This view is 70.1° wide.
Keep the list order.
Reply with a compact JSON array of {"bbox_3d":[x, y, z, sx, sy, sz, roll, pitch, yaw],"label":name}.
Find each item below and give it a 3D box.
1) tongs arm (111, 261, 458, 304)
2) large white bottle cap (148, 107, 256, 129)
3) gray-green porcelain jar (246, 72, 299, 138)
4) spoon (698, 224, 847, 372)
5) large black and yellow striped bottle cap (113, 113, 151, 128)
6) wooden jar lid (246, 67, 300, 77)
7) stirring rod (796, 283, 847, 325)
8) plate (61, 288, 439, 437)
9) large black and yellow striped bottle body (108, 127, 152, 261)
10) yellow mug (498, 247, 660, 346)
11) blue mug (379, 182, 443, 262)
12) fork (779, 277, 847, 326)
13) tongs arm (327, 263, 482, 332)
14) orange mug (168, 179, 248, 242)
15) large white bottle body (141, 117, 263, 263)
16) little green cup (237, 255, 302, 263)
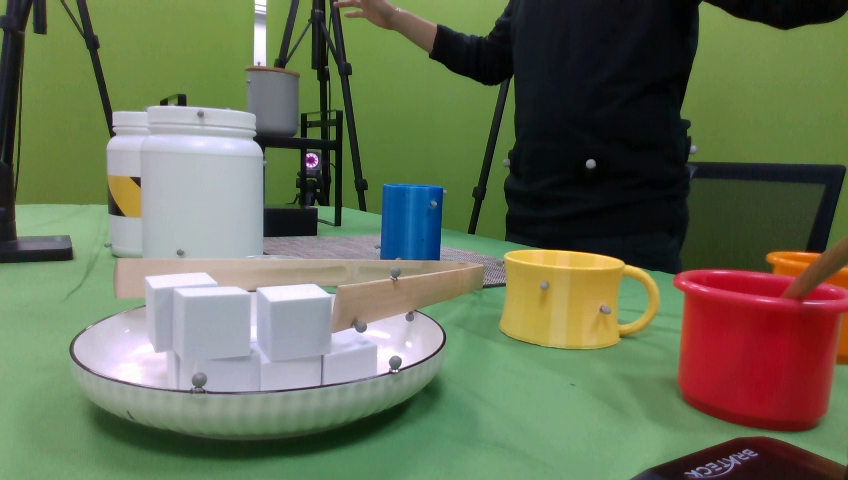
[{"bbox_3d":[-0.080,0.032,0.527,0.028,0.027,0.389,-3,-3,33],"label":"tongs arm"},{"bbox_3d":[-0.250,-0.137,0.686,0.115,0.018,0.115,3,8,0],"label":"large white bottle cap"},{"bbox_3d":[-0.314,-0.277,1.256,0.106,0.126,0.106,3,8,0],"label":"gray-green porcelain jar"},{"bbox_3d":[0.195,0.032,0.323,0.041,0.021,0.194,1,-36,2],"label":"spoon"},{"bbox_3d":[-0.348,-0.154,0.800,0.115,0.019,0.115,2,6,0],"label":"large black and yellow striped bottle cap"},{"bbox_3d":[-0.312,-0.339,1.247,0.108,0.020,0.108,4,8,0],"label":"wooden jar lid"},{"bbox_3d":[0.347,0.019,0.460,0.014,0.176,0.006,-16,59,-26],"label":"stirring rod"},{"bbox_3d":[-0.095,0.069,0.362,0.208,0.039,0.207,3,7,0],"label":"plate"},{"bbox_3d":[-0.350,-0.071,0.812,0.131,0.184,0.130,2,7,0],"label":"large black and yellow striped bottle body"},{"bbox_3d":[0.130,0.045,0.508,0.131,0.064,0.100,4,7,6],"label":"yellow mug"},{"bbox_3d":[-0.020,-0.026,0.833,0.082,0.106,0.116,1,7,-7],"label":"blue mug"},{"bbox_3d":[0.335,0.018,0.443,0.028,0.018,0.207,-1,-36,-20],"label":"fork"},{"bbox_3d":[-0.003,0.036,0.492,0.050,0.026,0.386,1,0,19],"label":"tongs arm"},{"bbox_3d":[-0.351,-0.050,0.986,0.126,0.101,0.083,-3,8,-9],"label":"orange mug"},{"bbox_3d":[-0.254,-0.054,0.697,0.131,0.184,0.130,2,7,0],"label":"large white bottle body"},{"bbox_3d":[-0.150,0.038,0.590,0.061,0.038,0.061,3,6,0],"label":"little green cup"}]
